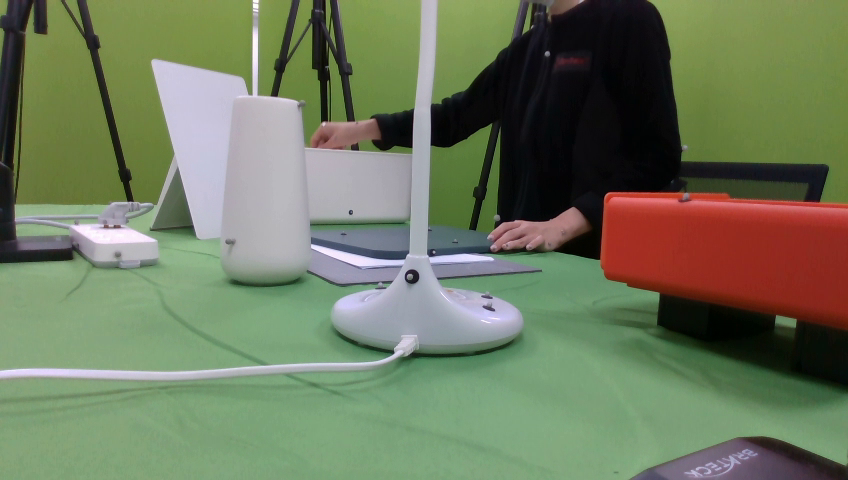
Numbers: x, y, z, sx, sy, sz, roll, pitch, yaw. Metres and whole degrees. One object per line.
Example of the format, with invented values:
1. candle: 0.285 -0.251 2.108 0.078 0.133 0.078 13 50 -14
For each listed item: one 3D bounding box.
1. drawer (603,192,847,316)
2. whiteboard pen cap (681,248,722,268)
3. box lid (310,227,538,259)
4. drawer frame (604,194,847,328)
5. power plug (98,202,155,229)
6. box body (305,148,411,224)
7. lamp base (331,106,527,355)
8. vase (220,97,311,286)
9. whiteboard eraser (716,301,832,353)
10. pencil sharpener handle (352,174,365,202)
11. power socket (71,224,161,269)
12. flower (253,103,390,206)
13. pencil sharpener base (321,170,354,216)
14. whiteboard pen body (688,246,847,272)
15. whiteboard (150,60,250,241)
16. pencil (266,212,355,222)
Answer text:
1. drawer: 0.293 0.002 0.500 0.195 0.073 0.210 -1 8 -34
2. whiteboard pen cap: 0.250 0.017 0.544 0.033 0.018 0.018 2 7 25
3. box lid: -0.010 0.001 1.036 0.374 0.015 0.262 -3 9 -44
4. drawer frame: 0.297 0.007 0.497 0.203 0.082 0.212 -1 7 -34
5. power plug: -0.416 -0.027 0.848 0.073 0.052 0.035 0 8 -28
6. box body: -0.230 -0.126 1.371 0.366 0.160 0.253 -2 8 -33
7. lamp base: 0.006 -0.012 0.478 0.161 0.180 0.179 2 10 2
8. vase: -0.172 -0.052 0.662 0.098 0.200 0.098 3 8 0
9. whiteboard eraser: 0.256 0.042 0.472 0.112 0.042 0.056 43 19 30
10. pencil sharpener handle: -0.156 -0.124 1.449 0.031 0.068 0.036 1 18 -11
11. power socket: -0.408 0.004 0.793 0.072 0.032 0.225 -2 8 -38
12. flower: -0.224 -0.184 1.351 0.362 0.038 0.044 36 25 -6
13. pencil sharpener base: -0.206 -0.112 1.437 0.077 0.107 0.061 1 6 -11
14. whiteboard pen body: 0.303 0.016 0.520 0.140 0.017 0.017 4 7 25
15. whiteboard: -0.408 -0.139 1.093 0.143 0.305 0.218 -15 -1 26
16. pencil: -0.244 -0.049 1.319 0.195 0.012 0.012 4 7 -13
